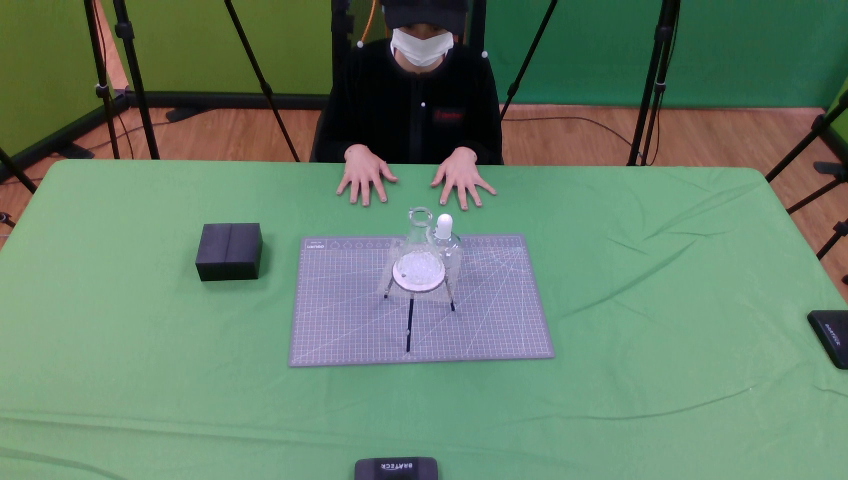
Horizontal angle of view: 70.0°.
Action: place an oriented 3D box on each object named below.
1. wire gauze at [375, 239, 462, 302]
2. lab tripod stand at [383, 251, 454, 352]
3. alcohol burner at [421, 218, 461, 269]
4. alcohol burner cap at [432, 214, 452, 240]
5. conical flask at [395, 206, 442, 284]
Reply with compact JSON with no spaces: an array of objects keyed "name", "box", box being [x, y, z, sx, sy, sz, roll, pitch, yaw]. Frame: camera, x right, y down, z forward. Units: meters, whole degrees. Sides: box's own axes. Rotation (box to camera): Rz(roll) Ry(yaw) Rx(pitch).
[{"name":"wire gauze","box":[-0.006,0.049,0.977,0.121,0.011,0.124,10,44,5]},{"name":"lab tripod stand","box":[-0.015,0.094,1.025,0.148,0.132,0.147,1,46,-1]},{"name":"alcohol burner","box":[0.033,-0.001,1.135,0.078,0.119,0.077,3,48,-3]},{"name":"alcohol burner cap","box":[0.035,-0.027,1.110,0.034,0.048,0.033,7,42,-6]},{"name":"conical flask","box":[-0.007,0.005,0.937,0.075,0.122,0.075,2,45,-1]}]
